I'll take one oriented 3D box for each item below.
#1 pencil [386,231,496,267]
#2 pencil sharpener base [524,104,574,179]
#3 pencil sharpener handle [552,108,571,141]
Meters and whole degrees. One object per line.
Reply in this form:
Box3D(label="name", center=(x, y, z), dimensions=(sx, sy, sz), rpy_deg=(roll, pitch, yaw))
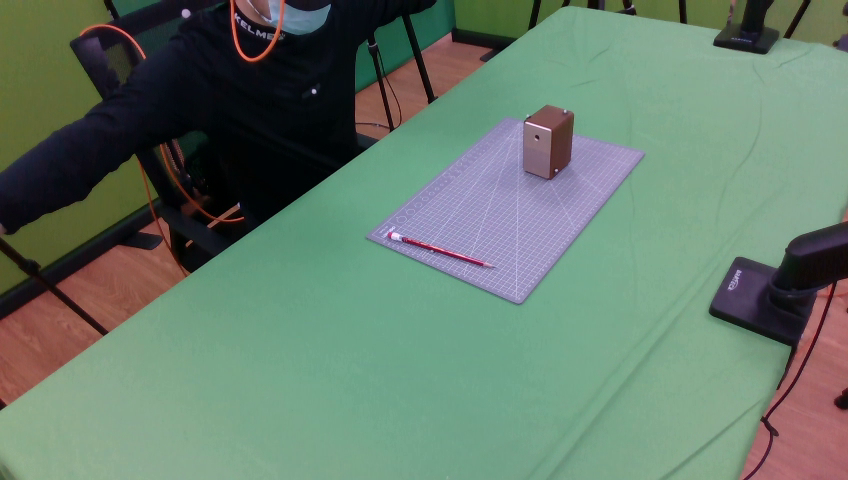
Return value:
Box3D(label="pencil", center=(0.024, 0.015, 0.952), dimensions=(0.193, 0.012, 0.012), rpy_deg=(17, 46, 23))
Box3D(label="pencil sharpener base", center=(0.222, -0.176, 1.071), dimensions=(0.061, 0.107, 0.077), rpy_deg=(26, 50, 33))
Box3D(label="pencil sharpener handle", center=(0.254, -0.212, 1.091), dimensions=(0.035, 0.068, 0.031), rpy_deg=(27, 51, 32))
